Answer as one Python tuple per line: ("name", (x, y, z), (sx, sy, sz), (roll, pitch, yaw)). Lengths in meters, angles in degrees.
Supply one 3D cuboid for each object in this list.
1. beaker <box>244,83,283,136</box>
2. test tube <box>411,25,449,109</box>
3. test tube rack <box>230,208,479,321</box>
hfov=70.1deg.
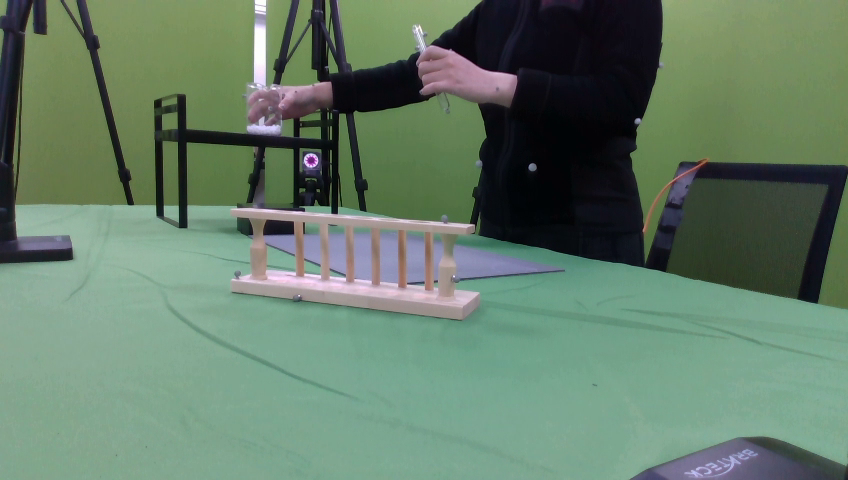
("beaker", (-0.321, -0.260, 1.214), (0.074, 0.100, 0.083), (-1, 9, -22))
("test tube", (0.010, -0.280, 0.979), (0.017, 0.150, 0.017), (-20, -8, -3))
("test tube rack", (-0.069, 0.017, 0.598), (0.242, 0.085, 0.067), (5, 8, 18))
